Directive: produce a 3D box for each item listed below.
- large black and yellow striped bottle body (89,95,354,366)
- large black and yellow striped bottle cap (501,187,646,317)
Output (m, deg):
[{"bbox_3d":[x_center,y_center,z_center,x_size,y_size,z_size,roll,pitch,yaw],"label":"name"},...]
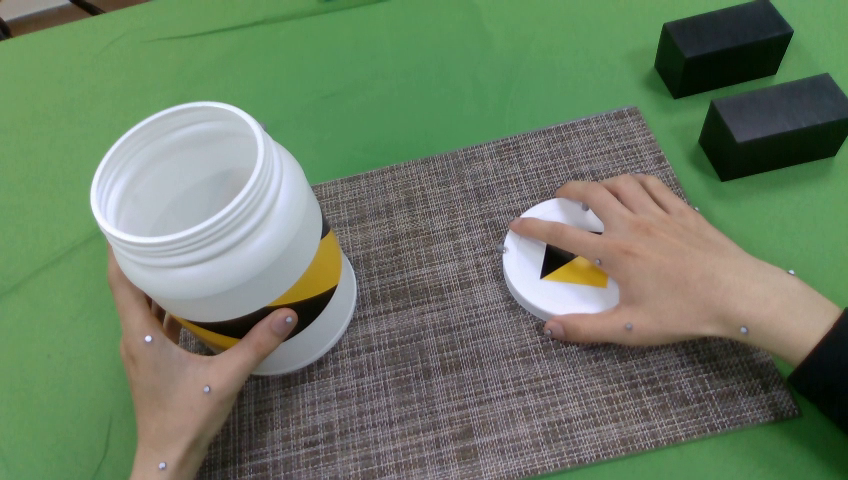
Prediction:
[{"bbox_3d":[-0.134,0.000,0.435,0.130,0.186,0.129,-4,58,7],"label":"large black and yellow striped bottle body"},{"bbox_3d":[0.119,0.007,0.490,0.115,0.019,0.114,-4,59,7],"label":"large black and yellow striped bottle cap"}]
